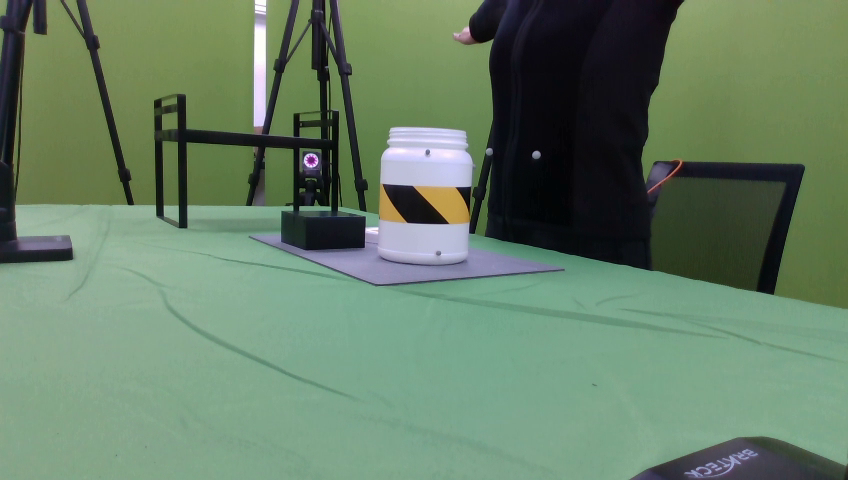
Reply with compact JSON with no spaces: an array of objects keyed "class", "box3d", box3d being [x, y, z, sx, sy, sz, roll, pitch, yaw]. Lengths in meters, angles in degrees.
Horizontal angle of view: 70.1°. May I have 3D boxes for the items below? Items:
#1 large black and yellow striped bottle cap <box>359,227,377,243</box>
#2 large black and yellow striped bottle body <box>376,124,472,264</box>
[{"class":"large black and yellow striped bottle cap","box3d":[-0.054,-0.010,1.052,0.115,0.019,0.115,1,7,0]},{"class":"large black and yellow striped bottle body","box3d":[0.001,-0.066,0.851,0.131,0.184,0.130,3,7,0]}]
